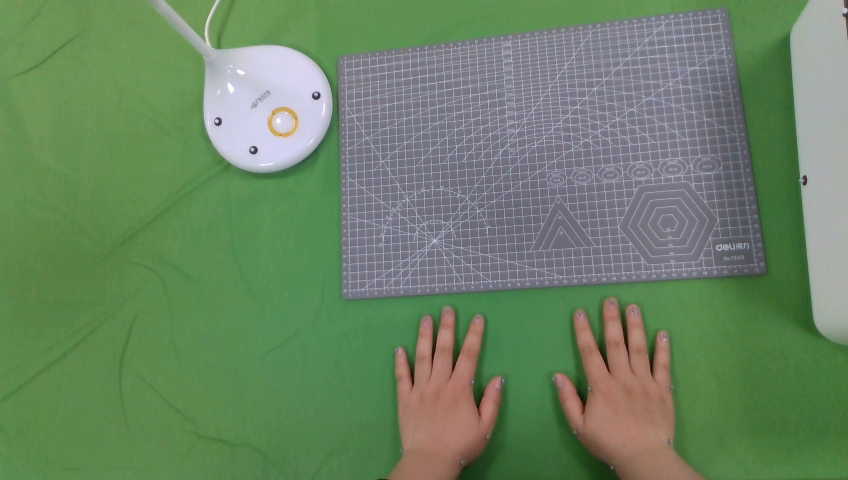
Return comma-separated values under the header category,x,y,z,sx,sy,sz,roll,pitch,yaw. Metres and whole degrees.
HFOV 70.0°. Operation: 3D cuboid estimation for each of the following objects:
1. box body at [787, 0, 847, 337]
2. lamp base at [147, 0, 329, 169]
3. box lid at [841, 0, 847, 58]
category,x,y,z,sx,sy,sz,roll,pitch,yaw
box body,0.487,-0.090,0.533,0.254,0.161,0.362,-1,80,10
lamp base,-0.216,-0.184,0.663,0.178,0.181,0.160,36,87,17
box lid,0.474,-0.106,0.462,0.263,0.015,0.370,-1,80,10
